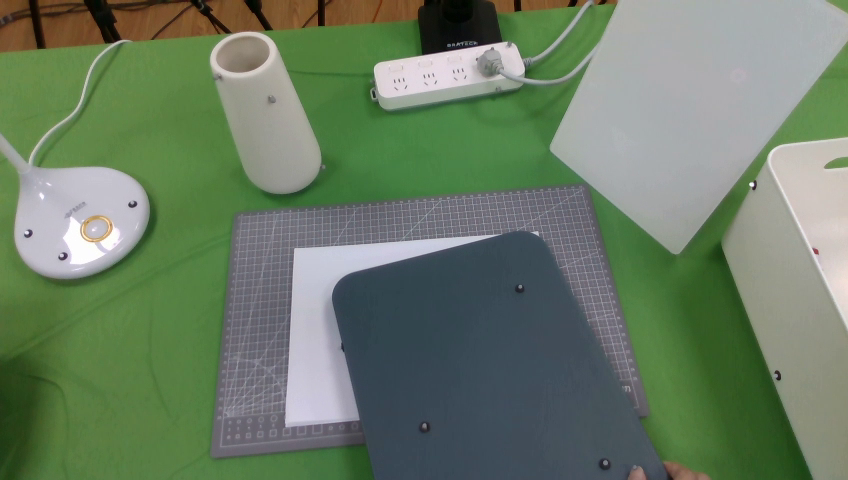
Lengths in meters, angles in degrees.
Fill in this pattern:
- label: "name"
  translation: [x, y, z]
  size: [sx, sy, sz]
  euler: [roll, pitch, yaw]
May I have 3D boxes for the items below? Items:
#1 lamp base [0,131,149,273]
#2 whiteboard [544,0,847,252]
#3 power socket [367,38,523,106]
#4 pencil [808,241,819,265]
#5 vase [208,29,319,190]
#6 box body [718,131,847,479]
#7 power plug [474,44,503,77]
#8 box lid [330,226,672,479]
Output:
- label: "lamp base"
  translation: [-0.437, -0.074, 0.688]
  size: [0.178, 0.182, 0.160]
  euler: [24, 62, 18]
- label: "whiteboard"
  translation: [0.313, -0.179, 0.692]
  size: [0.144, 0.307, 0.215]
  euler: [-25, 59, -34]
- label: "power socket"
  translation: [0.032, -0.238, 0.857]
  size: [0.227, 0.033, 0.071]
  euler: [-10, 61, -5]
- label: "pencil"
  translation: [0.430, 0.086, 0.664]
  size: [0.012, 0.012, 0.193]
  euler: [12, 63, 9]
- label: "vase"
  translation: [-0.188, -0.147, 0.713]
  size: [0.098, 0.202, 0.097]
  euler: [-1, 59, 3]
- label: "box body"
  translation: [0.477, 0.081, 0.583]
  size: [0.254, 0.162, 0.360]
  euler: [-6, 60, -2]
- label: "power plug"
  translation: [0.087, -0.235, 0.827]
  size: [0.035, 0.053, 0.072]
  euler: [-2, 61, 1]
- label: "box lid"
  translation: [0.064, 0.148, 0.617]
  size: [0.264, 0.015, 0.367]
  euler: [-14, 55, -10]
